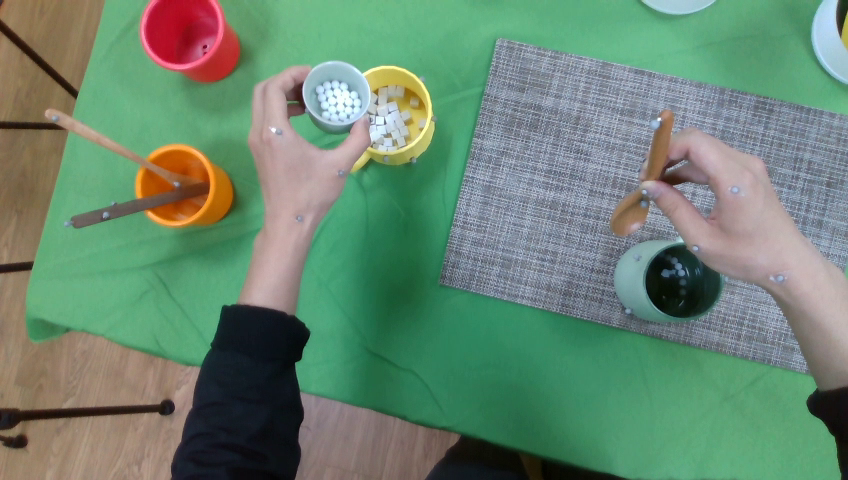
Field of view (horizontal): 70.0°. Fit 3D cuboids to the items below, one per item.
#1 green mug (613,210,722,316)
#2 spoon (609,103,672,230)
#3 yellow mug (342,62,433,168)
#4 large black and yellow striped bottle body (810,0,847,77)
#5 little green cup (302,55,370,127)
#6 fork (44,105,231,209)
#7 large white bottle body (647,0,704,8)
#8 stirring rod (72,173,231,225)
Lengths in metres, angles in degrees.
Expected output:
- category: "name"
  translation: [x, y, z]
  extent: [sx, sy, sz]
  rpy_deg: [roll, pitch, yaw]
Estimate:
- category: "green mug"
  translation: [0.268, 0.023, 0.653]
  extent: [0.092, 0.105, 0.125]
  rpy_deg: [30, 90, 5]
- category: "spoon"
  translation: [0.172, -0.050, 0.472]
  extent: [0.041, 0.195, 0.021]
  rpy_deg: [-29, 70, -1]
- category: "yellow mug"
  translation: [-0.050, -0.135, 0.699]
  extent: [0.100, 0.064, 0.131]
  rpy_deg: [39, 92, 3]
- category: "large black and yellow striped bottle body"
  translation: [0.505, -0.251, 0.613]
  extent: [0.131, 0.184, 0.130]
  rpy_deg: [0, 87, 4]
- category: "little green cup"
  translation: [-0.082, -0.135, 0.564]
  extent: [0.062, 0.038, 0.061]
  rpy_deg: [2, 81, -10]
- category: "fork"
  translation: [-0.309, -0.089, 0.670]
  extent: [0.209, 0.018, 0.028]
  rpy_deg: [32, 86, -39]
- category: "large white bottle body"
  translation: [0.289, -0.340, 0.627]
  extent: [0.130, 0.185, 0.130]
  rpy_deg: [0, 87, 4]
- category: "stirring rod"
  translation: [-0.297, -0.048, 0.674]
  extent: [0.176, 0.006, 0.014]
  rpy_deg: [-24, 87, -40]
